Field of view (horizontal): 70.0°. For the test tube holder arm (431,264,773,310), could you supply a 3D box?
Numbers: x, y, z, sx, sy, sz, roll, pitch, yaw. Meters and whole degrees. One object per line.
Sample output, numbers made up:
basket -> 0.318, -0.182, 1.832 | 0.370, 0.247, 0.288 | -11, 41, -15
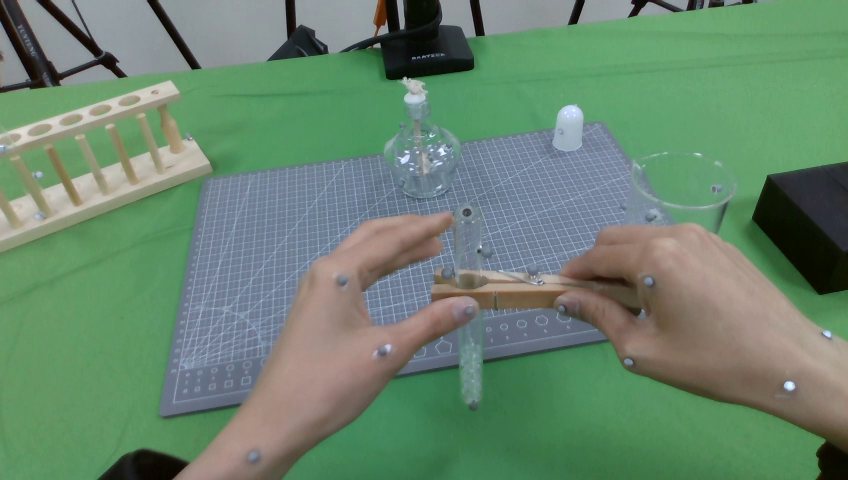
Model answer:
test tube holder arm -> 0.092, 0.025, 0.331 | 0.178, 0.015, 0.013 | 2, 43, 11

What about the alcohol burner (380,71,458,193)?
alcohol burner -> -0.006, -0.106, 0.589 | 0.078, 0.120, 0.077 | -4, 42, 4

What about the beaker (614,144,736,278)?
beaker -> 0.192, -0.017, 0.486 | 0.074, 0.101, 0.083 | -30, 48, -24

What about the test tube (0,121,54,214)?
test tube -> -0.387, -0.086, 0.561 | 0.017, 0.152, 0.017 | -4, 42, 4

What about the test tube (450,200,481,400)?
test tube -> 0.025, 0.042, 0.354 | 0.017, 0.151, 0.017 | -3, 37, 2

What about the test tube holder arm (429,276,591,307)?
test tube holder arm -> 0.047, 0.028, 0.334 | 0.088, 0.015, 0.010 | -3, 42, 6

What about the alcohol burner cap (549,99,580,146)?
alcohol burner cap -> 0.152, -0.129, 0.651 | 0.034, 0.048, 0.033 | -2, 43, 3

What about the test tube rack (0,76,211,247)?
test tube rack -> -0.357, -0.080, 0.617 | 0.242, 0.086, 0.066 | -26, 47, -21
